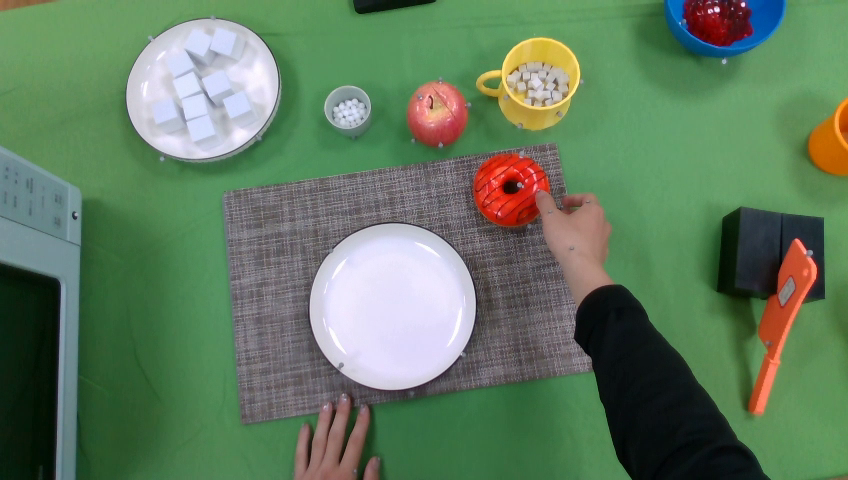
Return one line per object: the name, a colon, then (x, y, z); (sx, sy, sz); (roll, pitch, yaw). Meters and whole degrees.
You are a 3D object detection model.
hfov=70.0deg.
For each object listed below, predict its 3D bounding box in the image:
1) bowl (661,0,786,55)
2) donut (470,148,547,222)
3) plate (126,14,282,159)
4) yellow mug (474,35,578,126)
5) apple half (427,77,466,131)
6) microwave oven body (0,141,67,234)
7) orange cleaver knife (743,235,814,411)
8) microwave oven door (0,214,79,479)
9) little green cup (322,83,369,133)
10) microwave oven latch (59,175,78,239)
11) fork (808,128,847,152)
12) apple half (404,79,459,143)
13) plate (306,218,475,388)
bowl: (0.382, -0.304, 0.804); (0.151, 0.077, 0.150); (0, 78, 2)
donut: (0.108, -0.070, 0.776); (0.099, 0.048, 0.098); (-1, 80, 3)
plate: (-0.293, -0.205, 0.822); (0.207, 0.039, 0.206); (0, 78, 2)
yellow mug: (0.131, -0.209, 0.797); (0.131, 0.064, 0.099); (2, 78, 3)
apple half: (0.035, -0.181, 0.790); (0.033, 0.081, 0.081); (-36, 79, -1)
microwave oven body: (-0.596, 0.123, 0.643); (0.326, 0.261, 0.439); (-6, 78, 0)
orange cleaver knife: (0.409, 0.099, 0.713); (0.012, 0.077, 0.212); (10, 110, 6)
microwave oven door: (-0.447, 0.149, 0.629); (0.039, 0.245, 0.354); (-6, 78, 1)
little green cup: (-0.102, -0.174, 0.811); (0.061, 0.039, 0.061); (0, 78, 2)
microwave oven latch: (-0.462, -0.042, 0.773); (0.030, 0.029, 0.079); (-4, 79, 0)
fork: (0.581, -0.139, 0.727); (0.206, 0.019, 0.028); (-12, 71, 44)
apple half: (0.003, -0.159, 0.787); (0.053, 0.075, 0.080); (-35, 83, -1)
plate: (-0.040, 0.077, 0.752); (0.209, 0.038, 0.208); (0, 78, 2)
